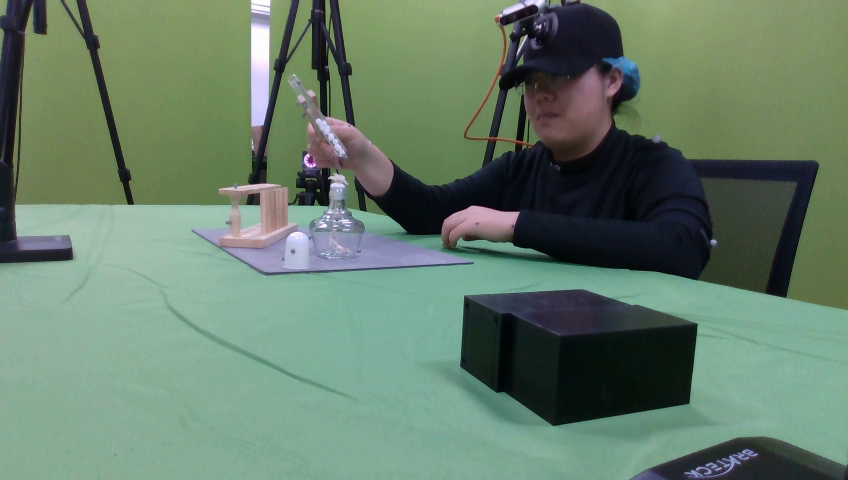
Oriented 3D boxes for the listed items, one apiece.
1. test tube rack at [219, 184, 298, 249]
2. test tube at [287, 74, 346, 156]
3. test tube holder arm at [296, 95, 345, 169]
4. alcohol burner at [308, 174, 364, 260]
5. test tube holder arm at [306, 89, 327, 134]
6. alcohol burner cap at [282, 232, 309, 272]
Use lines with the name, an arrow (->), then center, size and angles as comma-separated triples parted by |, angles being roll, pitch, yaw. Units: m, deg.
test tube rack -> -0.266, -0.046, 1.001 | 0.067, 0.085, 0.242 | 3, 7, 0
test tube -> -0.151, -0.175, 0.847 | 0.017, 0.150, 0.017 | -31, -18, -11
test tube holder arm -> -0.153, -0.159, 0.913 | 0.013, 0.015, 0.179 | -37, -26, -7
alcohol burner -> -0.121, -0.033, 0.841 | 0.078, 0.119, 0.078 | 3, 5, 0
test tube holder arm -> -0.155, -0.183, 0.874 | 0.010, 0.088, 0.015 | -33, 63, -15
alcohol burner cap -> -0.157, 0.014, 0.740 | 0.034, 0.048, 0.034 | 3, 6, 0
